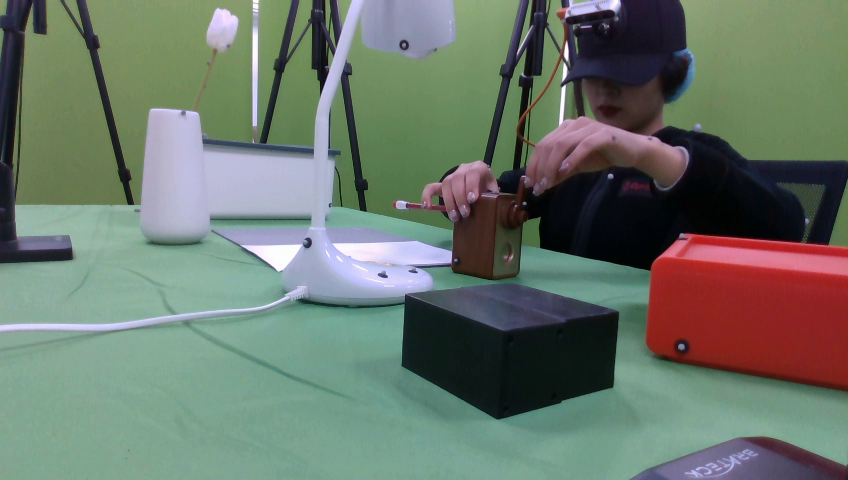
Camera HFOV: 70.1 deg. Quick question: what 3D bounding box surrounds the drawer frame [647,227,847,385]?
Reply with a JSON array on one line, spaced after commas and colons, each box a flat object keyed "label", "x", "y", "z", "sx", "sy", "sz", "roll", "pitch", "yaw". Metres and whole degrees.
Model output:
[{"label": "drawer frame", "x": 0.303, "y": 0.043, "z": 0.495, "sx": 0.201, "sy": 0.082, "sz": 0.214, "roll": 6, "pitch": 9, "yaw": 26}]

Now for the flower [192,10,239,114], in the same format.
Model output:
[{"label": "flower", "x": -0.354, "y": -0.174, "z": 0.915, "sx": 0.038, "sy": 0.361, "sz": 0.044, "roll": 18, "pitch": -3, "yaw": 12}]

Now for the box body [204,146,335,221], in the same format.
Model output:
[{"label": "box body", "x": -0.411, "y": -0.135, "z": 1.386, "sx": 0.366, "sy": 0.160, "sz": 0.253, "roll": -2, "pitch": 9, "yaw": -29}]

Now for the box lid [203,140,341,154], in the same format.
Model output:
[{"label": "box lid", "x": -0.396, "y": -0.213, "z": 1.373, "sx": 0.373, "sy": 0.015, "sz": 0.262, "roll": -1, "pitch": 9, "yaw": -29}]

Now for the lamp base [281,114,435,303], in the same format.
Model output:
[{"label": "lamp base", "x": -0.071, "y": -0.035, "z": 0.614, "sx": 0.160, "sy": 0.180, "sz": 0.180, "roll": 5, "pitch": 10, "yaw": 27}]

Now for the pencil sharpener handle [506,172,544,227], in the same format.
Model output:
[{"label": "pencil sharpener handle", "x": 0.124, "y": -0.048, "z": 0.726, "sx": 0.030, "sy": 0.067, "sz": 0.036, "roll": 9, "pitch": 0, "yaw": 43}]

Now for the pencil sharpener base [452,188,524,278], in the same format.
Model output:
[{"label": "pencil sharpener base", "x": 0.084, "y": -0.011, "z": 0.764, "sx": 0.076, "sy": 0.107, "sz": 0.062, "roll": 9, "pitch": 10, "yaw": 43}]

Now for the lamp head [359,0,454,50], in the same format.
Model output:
[{"label": "lamp head", "x": -0.024, "y": -0.283, "z": 0.674, "sx": 0.112, "sy": 0.123, "sz": 0.112, "roll": -3, "pitch": 38, "yaw": 3}]

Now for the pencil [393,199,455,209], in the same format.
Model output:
[{"label": "pencil", "x": 0.025, "y": -0.046, "z": 0.818, "sx": 0.193, "sy": 0.012, "sz": 0.012, "roll": 7, "pitch": 9, "yaw": 44}]

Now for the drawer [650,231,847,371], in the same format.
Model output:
[{"label": "drawer", "x": 0.303, "y": 0.043, "z": 0.499, "sx": 0.194, "sy": 0.073, "sz": 0.212, "roll": 7, "pitch": 9, "yaw": 27}]

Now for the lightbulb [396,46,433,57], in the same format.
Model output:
[{"label": "lightbulb", "x": -0.018, "y": -0.265, "z": 0.692, "sx": 0.059, "sy": 0.108, "sz": 0.059, "roll": -10, "pitch": 28, "yaw": 5}]

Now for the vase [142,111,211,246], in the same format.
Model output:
[{"label": "vase", "x": -0.378, "y": -0.093, "z": 0.920, "sx": 0.098, "sy": 0.200, "sz": 0.098, "roll": 2, "pitch": 9, "yaw": 0}]
